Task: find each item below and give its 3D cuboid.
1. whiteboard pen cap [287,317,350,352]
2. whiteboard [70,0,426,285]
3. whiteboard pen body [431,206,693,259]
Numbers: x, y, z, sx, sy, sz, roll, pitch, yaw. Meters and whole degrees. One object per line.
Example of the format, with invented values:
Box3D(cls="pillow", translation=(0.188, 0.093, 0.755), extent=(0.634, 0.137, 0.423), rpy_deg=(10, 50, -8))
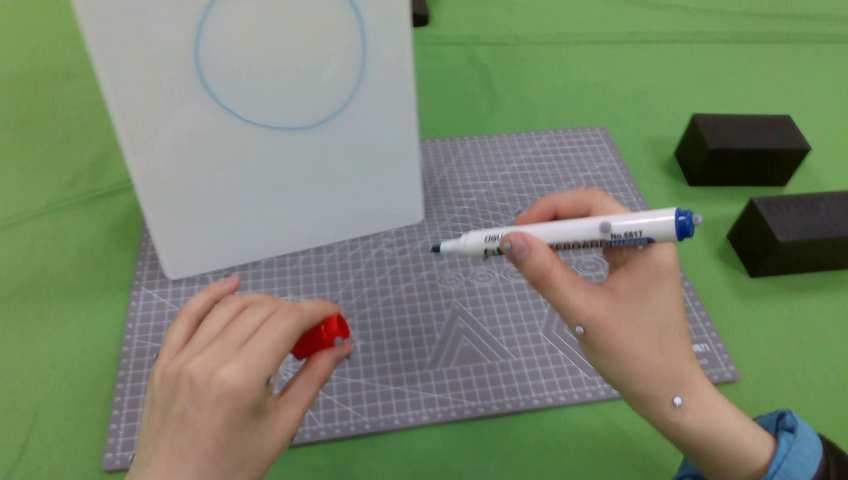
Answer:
Box3D(cls="whiteboard pen cap", translation=(-0.058, 0.052, 0.335), extent=(0.032, 0.017, 0.017), rpy_deg=(-6, 50, 1))
Box3D(cls="whiteboard", translation=(-0.131, -0.152, 0.479), extent=(0.218, 0.308, 0.142), rpy_deg=(-13, 33, -14))
Box3D(cls="whiteboard pen body", translation=(0.062, -0.001, 0.310), extent=(0.140, 0.017, 0.016), rpy_deg=(-7, 42, 33))
